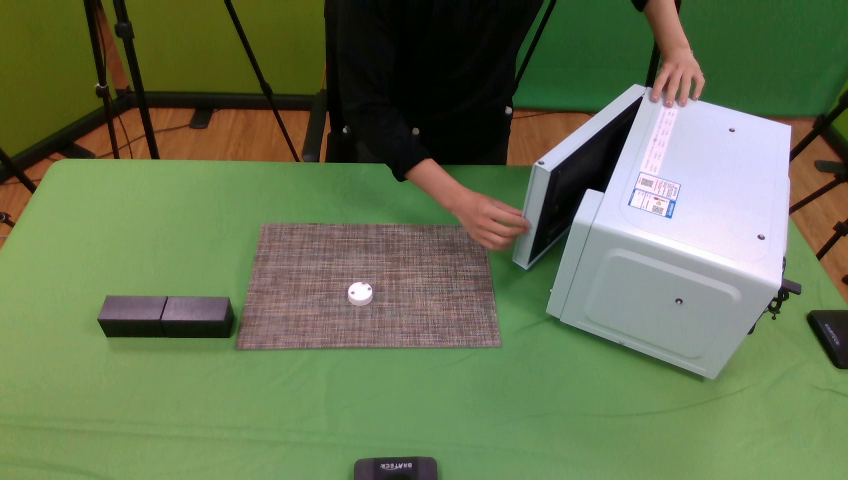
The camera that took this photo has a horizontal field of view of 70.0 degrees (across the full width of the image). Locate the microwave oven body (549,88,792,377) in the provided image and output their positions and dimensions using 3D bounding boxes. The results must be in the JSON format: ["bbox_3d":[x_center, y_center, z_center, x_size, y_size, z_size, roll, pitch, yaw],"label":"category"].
[{"bbox_3d":[0.456,-0.028,1.088,0.325,0.261,0.440,20,47,16],"label":"microwave oven body"}]

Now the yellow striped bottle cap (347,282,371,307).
[{"bbox_3d":[-0.117,0.098,1.093,0.044,0.019,0.044,3,45,-3],"label":"yellow striped bottle cap"}]

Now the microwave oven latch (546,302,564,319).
[{"bbox_3d":[0.242,0.102,1.081,0.030,0.029,0.079,22,48,17],"label":"microwave oven latch"}]

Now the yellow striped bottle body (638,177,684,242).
[{"bbox_3d":[0.443,-0.059,1.129,0.063,0.121,0.062,-1,47,1],"label":"yellow striped bottle body"}]

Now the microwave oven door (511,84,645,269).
[{"bbox_3d":[0.301,-0.127,1.166,0.039,0.245,0.355,34,53,25],"label":"microwave oven door"}]
